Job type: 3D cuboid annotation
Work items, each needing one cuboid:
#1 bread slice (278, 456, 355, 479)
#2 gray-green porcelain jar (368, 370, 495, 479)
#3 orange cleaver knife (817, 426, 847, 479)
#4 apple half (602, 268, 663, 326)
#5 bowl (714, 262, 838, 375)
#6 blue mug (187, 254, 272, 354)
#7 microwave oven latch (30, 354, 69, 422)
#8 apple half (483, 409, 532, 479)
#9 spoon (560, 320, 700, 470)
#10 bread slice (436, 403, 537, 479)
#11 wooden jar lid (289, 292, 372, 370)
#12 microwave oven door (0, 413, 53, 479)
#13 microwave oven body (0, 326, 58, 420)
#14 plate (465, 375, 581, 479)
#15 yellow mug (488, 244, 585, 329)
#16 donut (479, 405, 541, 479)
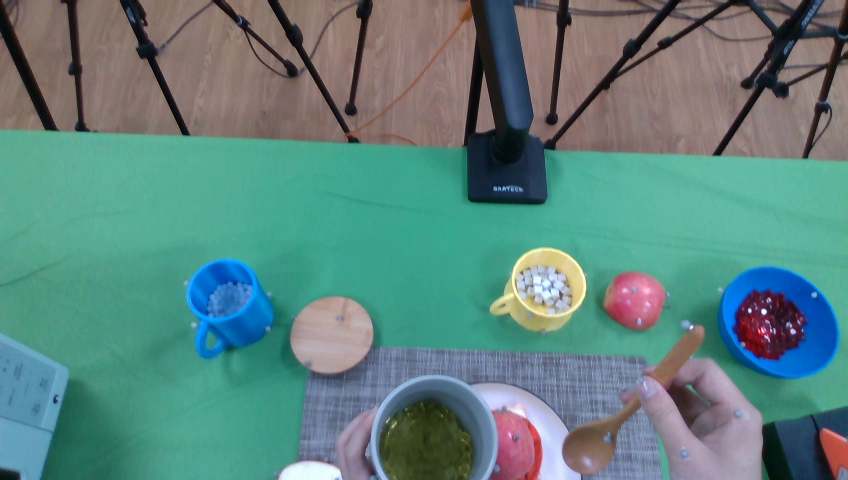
[{"bbox_3d":[-0.138,0.322,0.710,0.105,0.019,0.130,9,67,1],"label":"bread slice"},{"bbox_3d":[0.002,0.183,0.553,0.106,0.127,0.105,2,66,-4],"label":"gray-green porcelain jar"},{"bbox_3d":[0.497,0.327,0.705,0.012,0.077,0.211,-6,87,-13],"label":"orange cleaver knife"},{"bbox_3d":[0.289,0.072,0.831,0.074,0.054,0.080,22,66,10],"label":"apple half"},{"bbox_3d":[0.450,0.113,0.805,0.151,0.077,0.150,1,65,-2],"label":"bowl"},{"bbox_3d":[-0.251,0.090,0.767,0.082,0.106,0.116,21,66,7],"label":"blue mug"},{"bbox_3d":[-0.457,0.178,0.732,0.030,0.030,0.078,6,65,0],"label":"microwave oven latch"},{"bbox_3d":[0.087,0.228,0.681,0.081,0.033,0.080,-2,62,4],"label":"apple half"},{"bbox_3d":[0.161,0.128,0.479,0.041,0.195,0.021,32,44,12],"label":"spoon"},{"bbox_3d":[0.085,0.275,0.743,0.107,0.018,0.133,-13,58,-11],"label":"bread slice"},{"bbox_3d":[-0.123,0.122,0.802,0.108,0.021,0.107,1,62,-2],"label":"wooden jar lid"},{"bbox_3d":[-0.463,0.332,0.548,0.039,0.245,0.353,2,65,-1],"label":"microwave oven door"},{"bbox_3d":[-0.607,0.289,0.566,0.326,0.262,0.438,3,65,-2],"label":"microwave oven body"},{"bbox_3d":[0.082,0.270,0.732,0.208,0.039,0.206,1,65,-2],"label":"plate"},{"bbox_3d":[0.147,0.068,0.818,0.131,0.064,0.099,-20,67,-11],"label":"yellow mug"},{"bbox_3d":[0.088,0.244,0.714,0.099,0.048,0.098,1,65,-2],"label":"donut"}]
